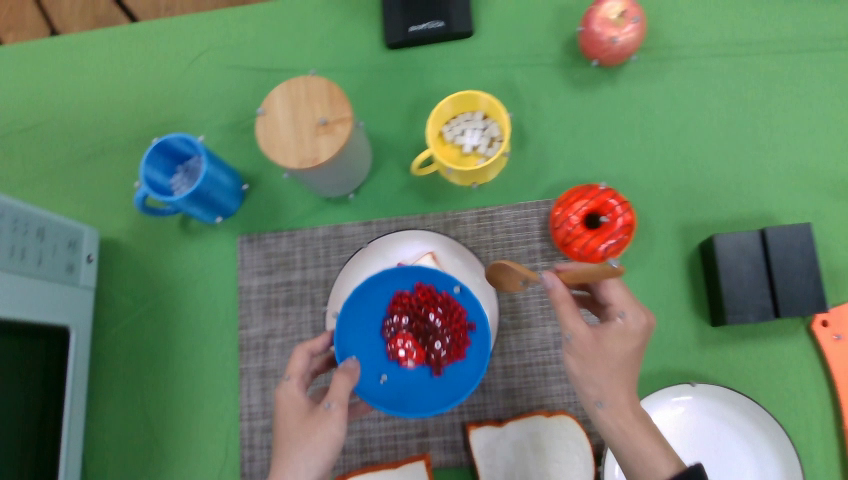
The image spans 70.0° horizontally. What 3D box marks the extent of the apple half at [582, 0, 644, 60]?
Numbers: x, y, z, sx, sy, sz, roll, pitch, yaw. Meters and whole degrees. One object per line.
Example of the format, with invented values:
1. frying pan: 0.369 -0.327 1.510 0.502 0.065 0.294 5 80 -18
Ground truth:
1. apple half: 0.236 -0.266 0.742 0.053 0.075 0.080 -37 73 -7

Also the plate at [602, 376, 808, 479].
1. plate: 0.296 0.252 0.653 0.209 0.038 0.208 -1 79 7

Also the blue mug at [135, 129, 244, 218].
1. blue mug: -0.297 -0.071 0.752 0.116 0.106 0.082 -31 76 1

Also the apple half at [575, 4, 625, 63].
1. apple half: 0.206 -0.242 0.739 0.033 0.081 0.081 -38 77 -6

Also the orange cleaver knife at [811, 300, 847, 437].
1. orange cleaver knife: 0.477 0.165 0.657 0.077 0.012 0.210 -4 77 -1

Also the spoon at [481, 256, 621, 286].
1. spoon: 0.108 0.028 0.546 0.042 0.193 0.021 47 72 -14

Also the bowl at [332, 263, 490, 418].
1. bowl: -0.015 0.106 0.603 0.151 0.077 0.150 3 66 -6

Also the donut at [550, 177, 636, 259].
1. donut: 0.197 -0.026 0.711 0.099 0.048 0.098 -1 80 7

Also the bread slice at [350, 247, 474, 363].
1. bread slice: -0.020 0.085 0.722 0.131 0.019 0.104 -32 77 -2

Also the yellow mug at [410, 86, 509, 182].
1. yellow mug: 0.040 -0.121 0.741 0.131 0.064 0.099 -30 77 1

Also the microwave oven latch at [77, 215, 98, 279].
1. microwave oven latch: -0.435 0.010 0.769 0.030 0.029 0.079 -1 80 6

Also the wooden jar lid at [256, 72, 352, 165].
1. wooden jar lid: -0.131 -0.132 0.669 0.108 0.021 0.108 -2 77 7

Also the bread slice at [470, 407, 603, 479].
1. bread slice: 0.127 0.238 0.649 0.135 0.018 0.106 -9 74 -15

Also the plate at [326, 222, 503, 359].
1. plate: -0.010 0.083 0.719 0.207 0.039 0.206 -1 79 7

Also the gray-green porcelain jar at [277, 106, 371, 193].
1. gray-green porcelain jar: -0.123 -0.119 0.730 0.106 0.127 0.105 -1 78 7

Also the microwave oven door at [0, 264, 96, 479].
1. microwave oven door: -0.444 0.204 0.628 0.039 0.245 0.354 -3 78 7

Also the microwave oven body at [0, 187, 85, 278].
1. microwave oven body: -0.589 0.171 0.658 0.326 0.261 0.439 -3 79 6
